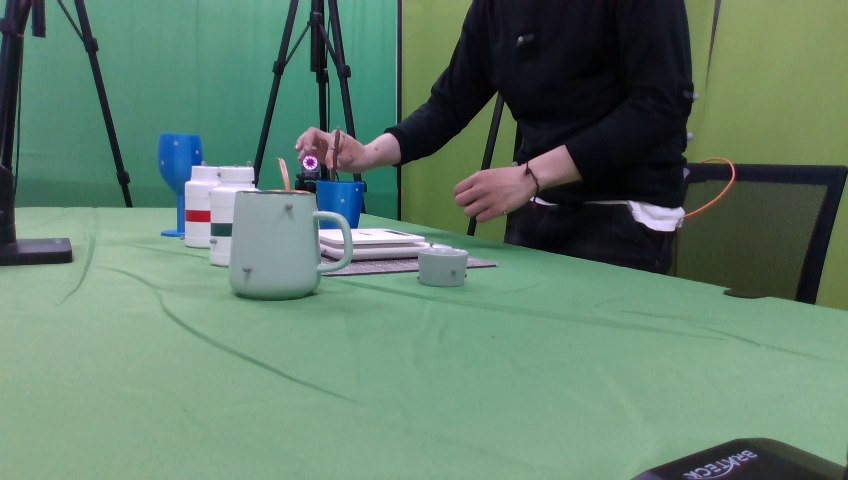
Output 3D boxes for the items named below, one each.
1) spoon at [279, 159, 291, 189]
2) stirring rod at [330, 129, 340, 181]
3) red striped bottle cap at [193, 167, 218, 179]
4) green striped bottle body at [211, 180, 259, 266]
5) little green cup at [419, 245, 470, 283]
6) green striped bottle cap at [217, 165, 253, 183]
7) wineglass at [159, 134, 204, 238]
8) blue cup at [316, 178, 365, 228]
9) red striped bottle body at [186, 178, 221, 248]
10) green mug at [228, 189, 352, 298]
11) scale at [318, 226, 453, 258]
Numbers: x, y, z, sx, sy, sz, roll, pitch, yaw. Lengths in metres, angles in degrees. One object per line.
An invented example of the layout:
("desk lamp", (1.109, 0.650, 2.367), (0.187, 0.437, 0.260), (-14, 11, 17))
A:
("spoon", (-0.281, -0.102, 1.251), (0.042, 0.193, 0.021), (4, -38, -28))
("stirring rod", (-0.162, -0.109, 1.071), (0.006, 0.176, 0.014), (2, 7, -36))
("red striped bottle cap", (-0.329, -0.102, 0.921), (0.044, 0.017, 0.044), (1, 9, 0))
("green striped bottle body", (-0.243, -0.029, 0.784), (0.063, 0.119, 0.063), (2, 7, 0))
("little green cup", (0.023, 0.028, 0.712), (0.061, 0.038, 0.061), (2, 6, 0))
("green striped bottle cap", (-0.242, -0.085, 0.777), (0.044, 0.020, 0.044), (2, 9, 0))
("wineglass", (-0.415, -0.093, 1.040), (0.074, 0.172, 0.073), (2, 7, 0))
("blue cup", (-0.149, -0.056, 1.072), (0.093, 0.100, 0.092), (3, 8, 0))
("red striped bottle body", (-0.331, -0.050, 0.927), (0.063, 0.119, 0.063), (2, 6, 0))
("green mug", (-0.135, 0.002, 0.618), (0.125, 0.105, 0.092), (2, 7, 4))
("scale", (-0.066, 0.001, 0.906), (0.202, 0.031, 0.148), (-2, 8, -31))
